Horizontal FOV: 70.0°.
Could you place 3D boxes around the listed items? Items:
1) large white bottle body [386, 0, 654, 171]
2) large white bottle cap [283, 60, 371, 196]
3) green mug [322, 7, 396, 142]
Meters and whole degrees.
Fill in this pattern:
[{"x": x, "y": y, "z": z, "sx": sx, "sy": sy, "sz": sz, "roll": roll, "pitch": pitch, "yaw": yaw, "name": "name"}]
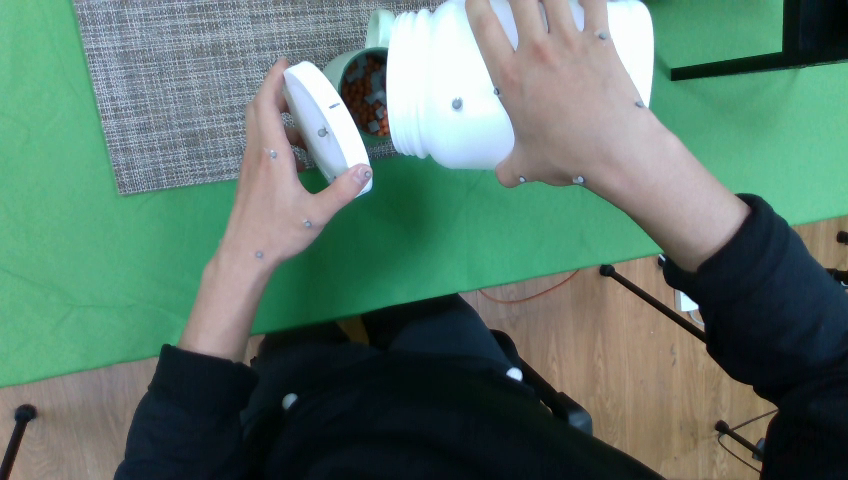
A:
[{"x": 0.071, "y": -0.121, "z": 0.472, "sx": 0.184, "sy": 0.130, "sz": 0.131, "roll": 3, "pitch": 100, "yaw": 9, "name": "large white bottle body"}, {"x": -0.080, "y": -0.090, "z": 0.497, "sx": 0.018, "sy": 0.114, "sz": 0.115, "roll": -31, "pitch": 108, "yaw": -17, "name": "large white bottle cap"}, {"x": -0.049, "y": -0.156, "z": 0.575, "sx": 0.093, "sy": 0.104, "sz": 0.125, "roll": 7, "pitch": 98, "yaw": -19, "name": "green mug"}]
